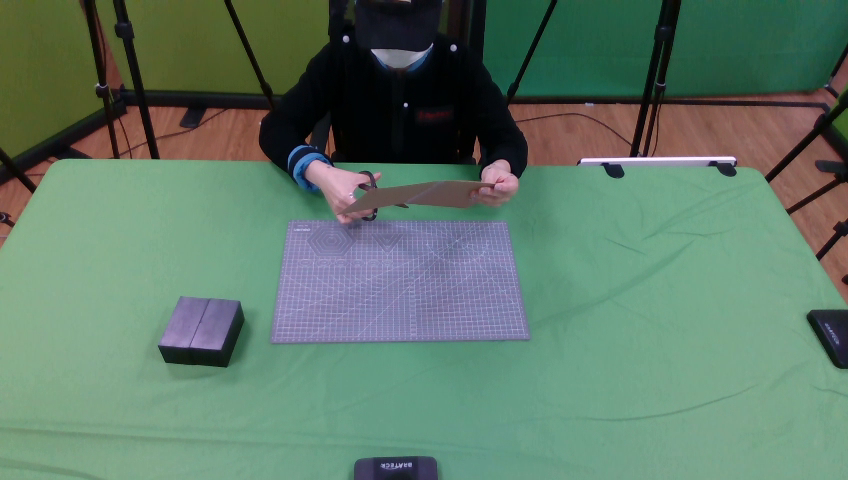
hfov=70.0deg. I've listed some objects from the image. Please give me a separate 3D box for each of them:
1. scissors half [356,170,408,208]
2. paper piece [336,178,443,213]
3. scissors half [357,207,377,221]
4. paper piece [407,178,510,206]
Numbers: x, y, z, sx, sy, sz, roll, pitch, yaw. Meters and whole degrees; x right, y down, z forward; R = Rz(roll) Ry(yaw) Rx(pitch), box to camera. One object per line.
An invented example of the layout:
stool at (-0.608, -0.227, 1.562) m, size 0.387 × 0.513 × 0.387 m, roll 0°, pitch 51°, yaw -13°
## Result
scissors half at (-0.080, -0.094, 1.138) m, size 0.013 × 0.040 × 0.174 m, roll -11°, pitch 32°, yaw -35°
paper piece at (-0.058, -0.072, 0.973) m, size 0.136 × 0.135 × 0.004 m, roll -11°, pitch 82°, yaw -33°
scissors half at (-0.079, -0.070, 1.142) m, size 0.013 × 0.175 × 0.040 m, roll -6°, pitch 79°, yaw -36°
paper piece at (0.055, -0.081, 1.044) m, size 0.139 × 0.136 × 0.008 m, roll 2°, pitch 79°, yaw -31°
